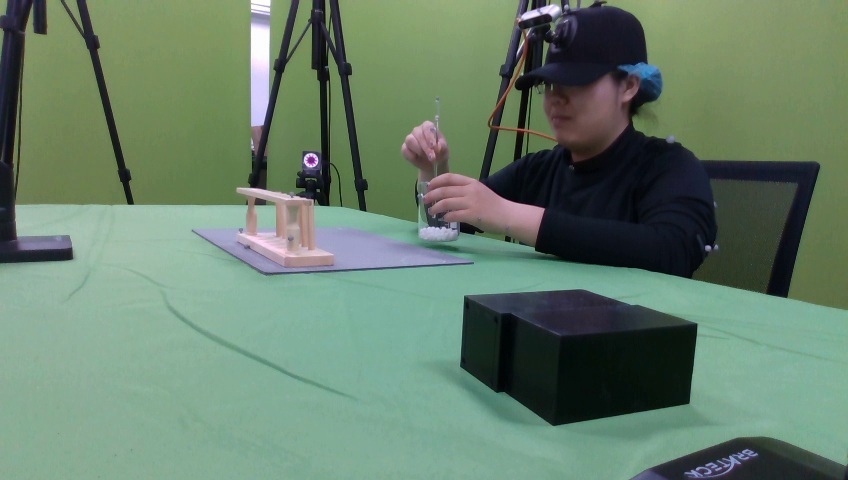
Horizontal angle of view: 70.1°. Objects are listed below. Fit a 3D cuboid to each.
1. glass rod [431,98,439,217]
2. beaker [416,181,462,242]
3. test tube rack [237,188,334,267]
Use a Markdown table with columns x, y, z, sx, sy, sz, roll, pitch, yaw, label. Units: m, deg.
| x | y | z | sx | sy | sz | roll | pitch | yaw | label |
| --- | --- | --- | --- | --- | --- | --- | --- | --- | --- |
| 0.018 | -0.139 | 1.013 | 0.008 | 0.199 | 0.008 | 2 | 1 | 0 | glass rod |
| 0.028 | -0.048 | 1.008 | 0.083 | 0.100 | 0.074 | 5 | 7 | 39 | beaker |
| -0.202 | -0.024 | 0.854 | 0.067 | 0.085 | 0.241 | -2 | 8 | -30 | test tube rack |
